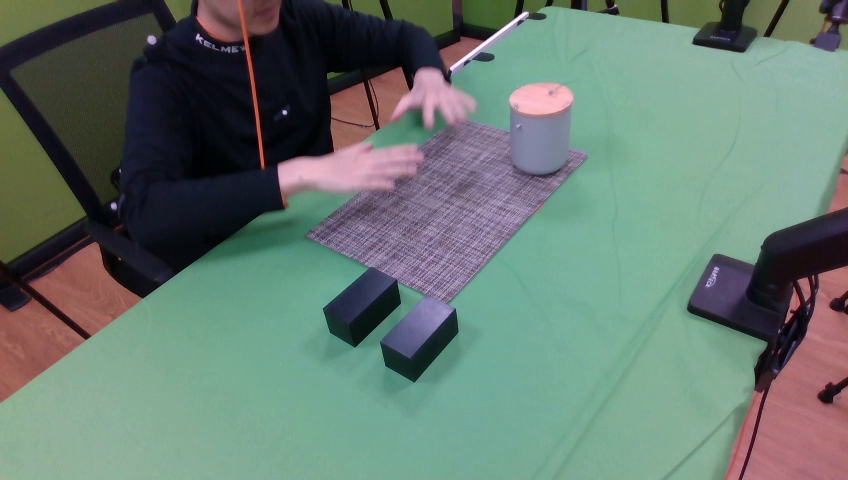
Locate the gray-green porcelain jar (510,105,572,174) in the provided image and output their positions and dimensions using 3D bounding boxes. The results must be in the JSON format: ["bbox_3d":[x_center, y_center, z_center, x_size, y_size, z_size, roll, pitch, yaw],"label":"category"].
[{"bbox_3d":[0.206,-0.190,1.073,0.106,0.127,0.105,-4,41,4],"label":"gray-green porcelain jar"}]

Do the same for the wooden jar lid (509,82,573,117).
[{"bbox_3d":[0.200,-0.236,1.033,0.108,0.021,0.108,-6,42,6],"label":"wooden jar lid"}]
